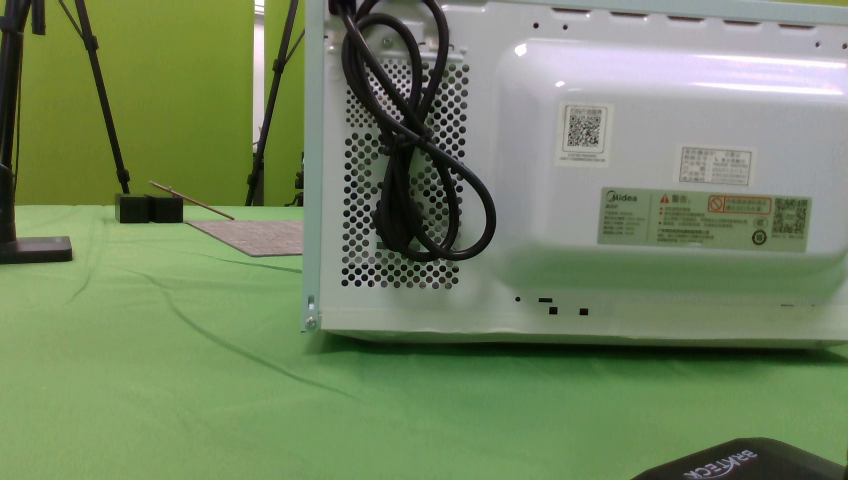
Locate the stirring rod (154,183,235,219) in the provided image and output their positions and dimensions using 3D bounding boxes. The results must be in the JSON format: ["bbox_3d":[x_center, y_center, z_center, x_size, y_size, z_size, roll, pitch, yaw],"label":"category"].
[{"bbox_3d":[-0.472,-0.079,1.252,0.177,0.006,0.014,27,4,-35],"label":"stirring rod"}]

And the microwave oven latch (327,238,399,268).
[{"bbox_3d":[-0.069,0.015,0.694,0.079,0.029,0.030,3,7,-3],"label":"microwave oven latch"}]

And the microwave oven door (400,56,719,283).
[{"bbox_3d":[0.155,-0.077,0.697,0.356,0.243,0.039,2,8,-5],"label":"microwave oven door"}]

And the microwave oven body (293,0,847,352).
[{"bbox_3d":[0.122,-0.055,0.550,0.442,0.260,0.325,3,7,-5],"label":"microwave oven body"}]
